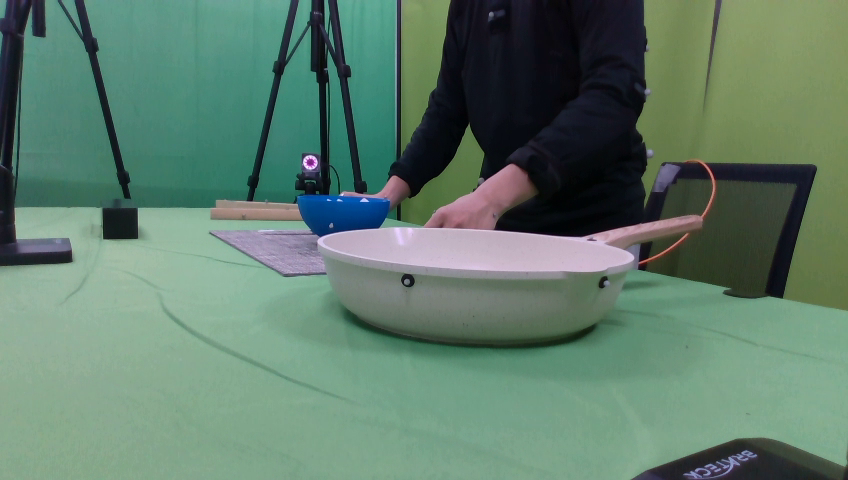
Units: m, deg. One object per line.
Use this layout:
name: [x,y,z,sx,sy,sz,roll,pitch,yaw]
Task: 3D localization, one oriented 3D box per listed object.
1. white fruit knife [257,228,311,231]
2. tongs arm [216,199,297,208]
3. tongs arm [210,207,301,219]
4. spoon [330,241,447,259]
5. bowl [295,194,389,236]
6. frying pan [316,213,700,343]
white fruit knife: [-0.202,-0.021,1.115,0.208,0.016,0.027,-1,2,-24]
tongs arm: [-0.307,-0.076,1.469,0.386,0.026,0.050,2,8,-11]
tongs arm: [-0.287,-0.061,1.392,0.389,0.028,0.028,0,5,-23]
spoon: [-0.046,0.011,0.883,0.195,0.021,0.041,-4,27,-30]
bowl: [-0.132,-0.032,0.980,0.151,0.077,0.151,2,7,0]
frying pan: [0.133,0.013,0.629,0.490,0.102,0.305,-12,14,-30]
